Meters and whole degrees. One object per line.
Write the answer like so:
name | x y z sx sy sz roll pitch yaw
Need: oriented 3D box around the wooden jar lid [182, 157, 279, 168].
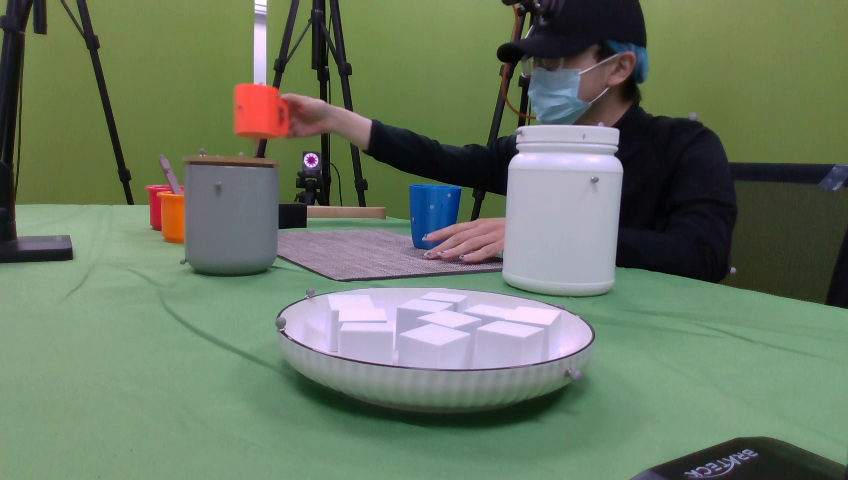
wooden jar lid | -0.227 -0.086 0.714 0.108 0.020 0.108 1 6 0

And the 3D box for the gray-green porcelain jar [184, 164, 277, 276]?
gray-green porcelain jar | -0.230 -0.025 0.722 0.106 0.126 0.106 3 7 0

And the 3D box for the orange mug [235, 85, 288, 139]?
orange mug | -0.332 -0.263 1.258 0.083 0.100 0.127 1 5 32

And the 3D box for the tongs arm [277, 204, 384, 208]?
tongs arm | -0.287 -0.071 1.434 0.389 0.027 0.028 1 1 -17

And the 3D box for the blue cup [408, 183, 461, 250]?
blue cup | 0.015 -0.038 0.970 0.093 0.100 0.092 3 9 0

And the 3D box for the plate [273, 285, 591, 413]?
plate | 0.005 0.069 0.407 0.208 0.039 0.207 2 7 0

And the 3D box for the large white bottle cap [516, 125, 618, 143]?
large white bottle cap | 0.164 -0.120 0.695 0.115 0.018 0.115 2 8 0

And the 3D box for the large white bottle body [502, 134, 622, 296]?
large white bottle body | 0.161 -0.037 0.706 0.131 0.184 0.130 2 7 0

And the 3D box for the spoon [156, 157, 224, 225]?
spoon | -0.425 -0.093 1.118 0.041 0.022 0.194 13 53 21

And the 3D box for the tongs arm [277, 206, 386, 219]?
tongs arm | -0.251 -0.063 1.360 0.387 0.026 0.050 -1 5 -31

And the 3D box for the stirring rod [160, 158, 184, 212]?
stirring rod | -0.390 -0.070 0.972 0.014 0.006 0.175 -3 51 -48
